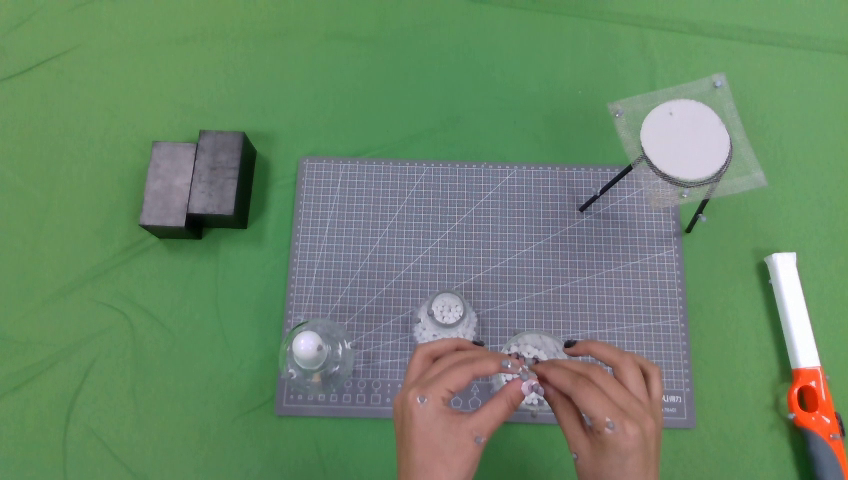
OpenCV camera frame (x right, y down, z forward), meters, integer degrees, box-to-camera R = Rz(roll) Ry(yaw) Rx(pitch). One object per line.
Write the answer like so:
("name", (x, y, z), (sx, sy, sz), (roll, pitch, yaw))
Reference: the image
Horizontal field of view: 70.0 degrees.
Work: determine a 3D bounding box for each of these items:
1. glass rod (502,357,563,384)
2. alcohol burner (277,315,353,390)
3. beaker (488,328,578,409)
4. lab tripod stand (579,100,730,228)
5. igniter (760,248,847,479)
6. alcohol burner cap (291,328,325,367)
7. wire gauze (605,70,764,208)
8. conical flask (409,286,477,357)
("glass rod", (0.093, 0.108, 0.492), (0.008, 0.201, 0.008), (-7, 72, 22))
("alcohol burner", (-0.112, 0.112, 0.611), (0.078, 0.119, 0.077), (1, 73, -1))
("beaker", (0.106, 0.131, 0.615), (0.084, 0.101, 0.073), (-16, 75, -5))
("lab tripod stand", (0.252, -0.077, 0.655), (0.148, 0.132, 0.147), (0, 76, -1))
("igniter", (0.410, 0.144, 0.652), (0.057, 0.025, 0.275), (-2, 75, -11))
("alcohol burner cap", (-0.111, 0.100, 0.577), (0.034, 0.048, 0.033), (3, 67, -6))
("wire gauze", (0.254, -0.099, 0.591), (0.125, 0.011, 0.121), (-14, 77, -4))
("conical flask", (0.020, 0.077, 0.617), (0.075, 0.122, 0.075), (0, 74, 0))
